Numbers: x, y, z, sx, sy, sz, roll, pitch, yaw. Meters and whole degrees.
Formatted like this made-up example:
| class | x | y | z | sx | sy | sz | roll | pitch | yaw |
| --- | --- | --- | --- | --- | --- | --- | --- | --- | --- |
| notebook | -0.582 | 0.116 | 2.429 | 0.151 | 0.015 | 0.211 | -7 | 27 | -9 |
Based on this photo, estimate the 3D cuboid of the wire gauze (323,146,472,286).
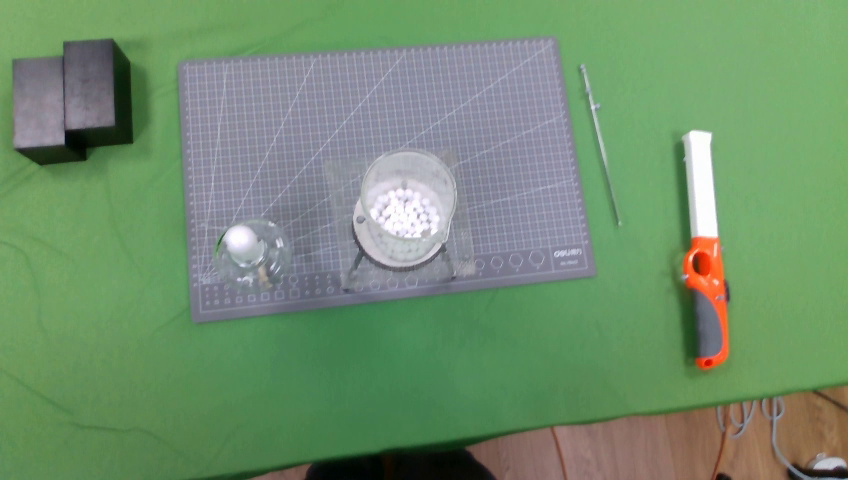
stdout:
| class | x | y | z | sx | sy | sz | roll | pitch | yaw |
| --- | --- | --- | --- | --- | --- | --- | --- | --- | --- |
| wire gauze | -0.025 | -0.024 | 0.553 | 0.125 | 0.011 | 0.121 | -7 | 78 | -5 |

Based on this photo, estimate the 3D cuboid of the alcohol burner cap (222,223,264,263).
| class | x | y | z | sx | sy | sz | roll | pitch | yaw |
| --- | --- | --- | --- | --- | --- | --- | --- | --- | --- |
| alcohol burner cap | -0.173 | 0.001 | 0.573 | 0.034 | 0.048 | 0.033 | 1 | 74 | -3 |

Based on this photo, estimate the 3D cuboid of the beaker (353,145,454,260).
| class | x | y | z | sx | sy | sz | roll | pitch | yaw |
| --- | --- | --- | --- | --- | --- | --- | --- | --- | --- |
| beaker | -0.016 | -0.024 | 0.505 | 0.074 | 0.100 | 0.084 | -38 | 83 | -12 |

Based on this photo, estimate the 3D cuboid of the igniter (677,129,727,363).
| class | x | y | z | sx | sy | sz | roll | pitch | yaw |
| --- | --- | --- | --- | --- | --- | --- | --- | --- | --- |
| igniter | 0.323 | 0.004 | 0.708 | 0.057 | 0.025 | 0.275 | 4 | 79 | -16 |

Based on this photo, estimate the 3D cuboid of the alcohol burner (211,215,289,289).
| class | x | y | z | sx | sy | sz | roll | pitch | yaw |
| --- | --- | --- | --- | --- | --- | --- | --- | --- | --- |
| alcohol burner | -0.177 | 0.008 | 0.609 | 0.078 | 0.119 | 0.077 | 1 | 76 | -6 |

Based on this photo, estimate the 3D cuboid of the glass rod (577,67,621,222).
| class | x | y | z | sx | sy | sz | roll | pitch | yaw |
| --- | --- | --- | --- | --- | --- | --- | --- | --- | --- |
| glass rod | 0.210 | -0.117 | 0.729 | 0.008 | 0.008 | 0.199 | -10 | 80 | -8 |

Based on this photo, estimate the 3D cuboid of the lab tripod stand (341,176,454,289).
| class | x | y | z | sx | sy | sz | roll | pitch | yaw |
| --- | --- | --- | --- | --- | --- | --- | --- | --- | --- |
| lab tripod stand | -0.031 | -0.007 | 0.616 | 0.148 | 0.132 | 0.147 | 1 | 78 | -4 |
